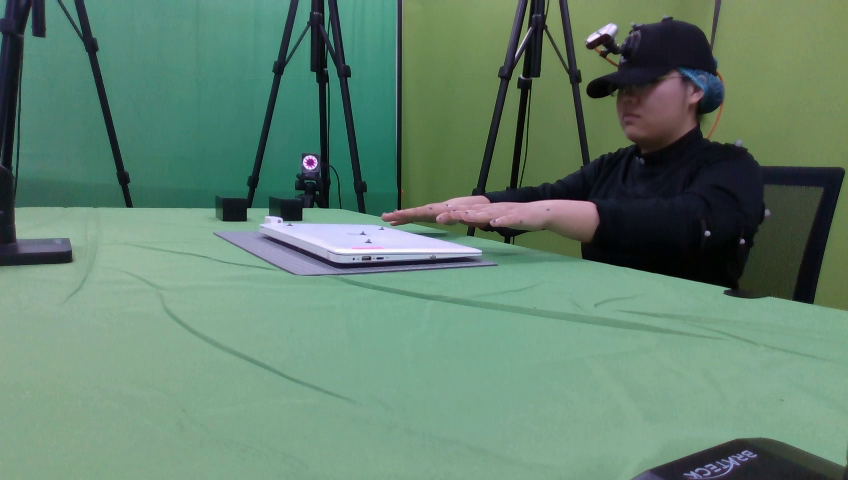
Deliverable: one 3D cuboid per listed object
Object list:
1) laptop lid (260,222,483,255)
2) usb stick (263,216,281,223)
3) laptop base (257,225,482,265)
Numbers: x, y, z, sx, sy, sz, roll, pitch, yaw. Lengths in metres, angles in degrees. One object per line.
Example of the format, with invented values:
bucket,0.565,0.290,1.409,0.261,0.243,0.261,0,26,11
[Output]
laptop lid,-0.099,-0.005,0.962,0.243,0.013,0.355,1,7,-30
usb stick,-0.269,-0.028,1.081,0.021,0.027,0.059,-2,11,-30
laptop base,-0.102,0.006,0.962,0.237,0.023,0.352,2,6,-32
